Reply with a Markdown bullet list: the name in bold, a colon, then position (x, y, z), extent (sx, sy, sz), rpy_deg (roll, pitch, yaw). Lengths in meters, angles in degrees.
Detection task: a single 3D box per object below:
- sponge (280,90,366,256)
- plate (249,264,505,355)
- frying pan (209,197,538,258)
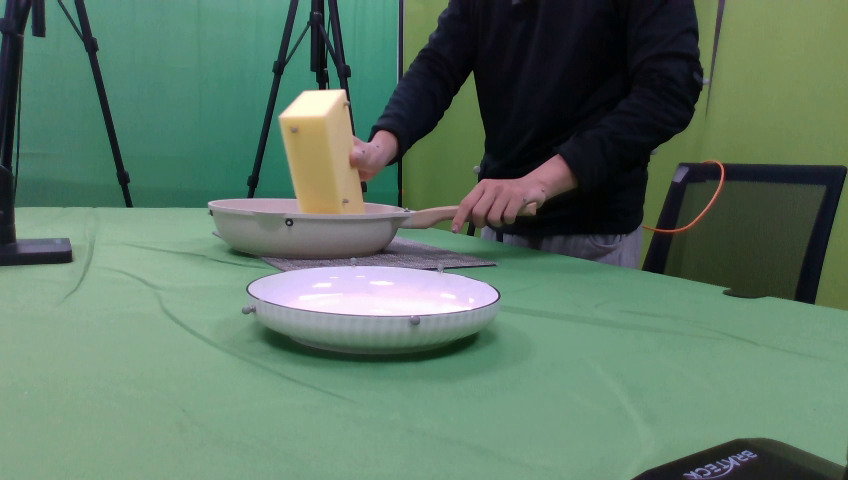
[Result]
- **sponge**: position (-0.134, -0.093, 0.845), extent (0.061, 0.207, 0.118), rpy_deg (-2, 30, 7)
- **plate**: position (-0.037, 0.056, 0.504), extent (0.208, 0.039, 0.207), rpy_deg (2, 7, 0)
- **frying pan**: position (-0.075, -0.034, 0.912), extent (0.487, 0.102, 0.307), rpy_deg (-5, 7, 12)
